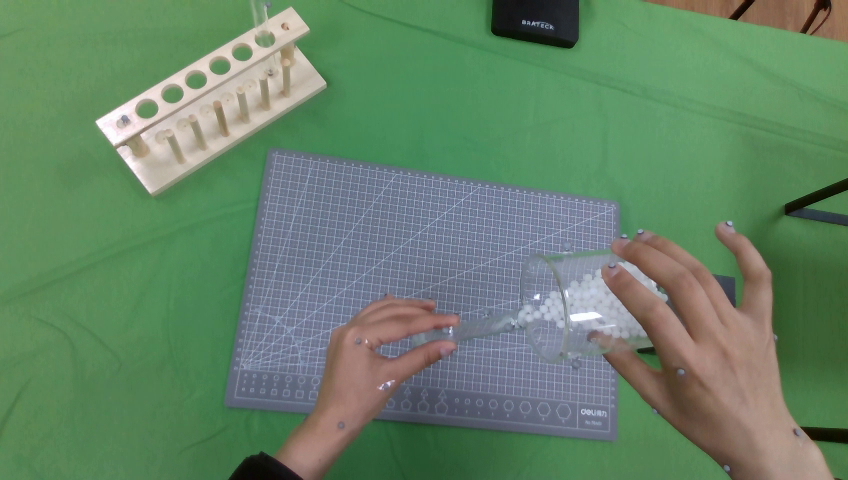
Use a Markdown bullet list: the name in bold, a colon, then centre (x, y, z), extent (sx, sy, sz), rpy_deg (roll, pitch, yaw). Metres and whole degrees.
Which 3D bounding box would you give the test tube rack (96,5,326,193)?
- **test tube rack**: centre (-0.227, -0.158, 0.681), extent (0.242, 0.085, 0.066), rpy_deg (-37, 85, -17)

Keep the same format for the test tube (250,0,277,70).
- **test tube**: centre (-0.174, -0.230, 0.657), extent (0.017, 0.151, 0.017), rpy_deg (2, 73, -7)

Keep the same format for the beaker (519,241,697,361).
- **beaker**: centre (0.124, 0.040, 0.417), extent (0.100, 0.084, 0.073), rpy_deg (-5, 74, -13)

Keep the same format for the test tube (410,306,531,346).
- **test tube**: centre (0.032, 0.073, 0.500), extent (0.017, 0.150, 0.017), rpy_deg (11, 70, -32)
